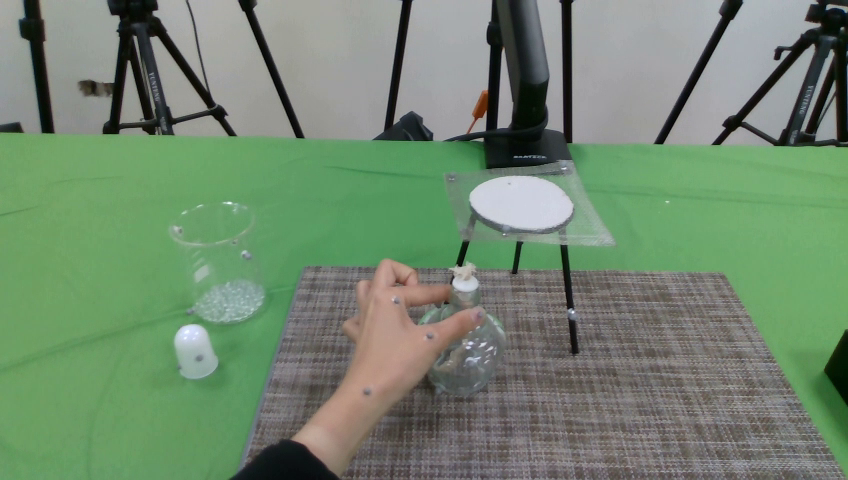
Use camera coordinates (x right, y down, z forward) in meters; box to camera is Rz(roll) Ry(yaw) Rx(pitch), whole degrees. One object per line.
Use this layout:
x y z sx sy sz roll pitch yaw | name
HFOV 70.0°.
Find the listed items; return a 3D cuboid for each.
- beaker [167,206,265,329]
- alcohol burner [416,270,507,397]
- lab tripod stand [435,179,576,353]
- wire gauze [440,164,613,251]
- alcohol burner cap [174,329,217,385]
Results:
-0.193 0.027 0.580 0.074 0.101 0.083 9 36 12 | beaker
0.032 0.071 0.498 0.078 0.120 0.077 2 36 -1 | alcohol burner
0.084 0.023 0.551 0.148 0.132 0.147 2 35 -1 | lab tripod stand
0.080 -0.029 0.508 0.125 0.011 0.120 -2 36 -5 | wire gauze
-0.201 0.100 0.527 0.034 0.048 0.033 1 35 0 | alcohol burner cap
